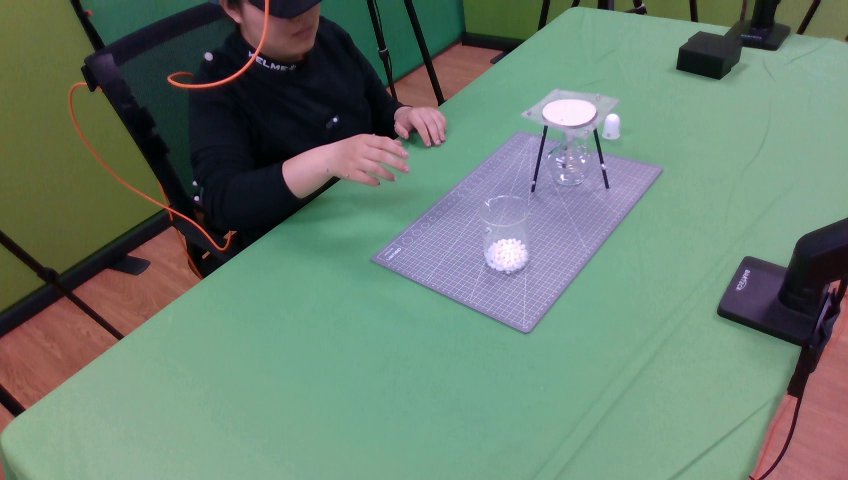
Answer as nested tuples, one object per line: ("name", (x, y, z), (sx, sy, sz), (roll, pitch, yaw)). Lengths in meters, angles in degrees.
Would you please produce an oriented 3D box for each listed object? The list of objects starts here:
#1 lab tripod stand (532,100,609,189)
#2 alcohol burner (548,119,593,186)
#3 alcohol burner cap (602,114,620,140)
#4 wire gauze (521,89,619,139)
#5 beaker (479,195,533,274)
("lab tripod stand", (0.251, -0.161, 1.034), (0.148, 0.132, 0.147), (-4, 39, 4))
("alcohol burner", (0.252, -0.154, 1.042), (0.078, 0.120, 0.077), (-7, 40, 6))
("alcohol burner cap", (0.359, -0.217, 1.157), (0.034, 0.048, 0.033), (-7, 40, 6))
("wire gauze", (0.239, -0.213, 0.994), (0.124, 0.011, 0.122), (24, 49, 32))
("beaker", (0.122, -0.007, 0.904), (0.074, 0.101, 0.083), (-30, 43, -23))
